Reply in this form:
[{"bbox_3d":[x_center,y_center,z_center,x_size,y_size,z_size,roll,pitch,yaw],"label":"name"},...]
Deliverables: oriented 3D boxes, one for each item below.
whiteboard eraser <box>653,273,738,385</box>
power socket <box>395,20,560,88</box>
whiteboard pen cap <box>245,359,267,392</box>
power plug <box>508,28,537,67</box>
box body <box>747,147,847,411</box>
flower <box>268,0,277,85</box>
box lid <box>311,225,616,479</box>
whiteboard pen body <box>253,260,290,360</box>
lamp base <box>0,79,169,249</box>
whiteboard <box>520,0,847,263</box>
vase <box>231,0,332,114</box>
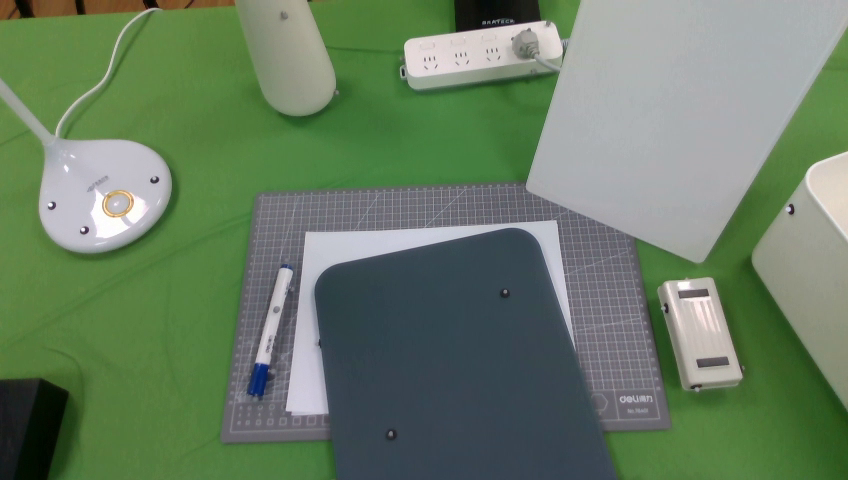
[{"bbox_3d":[0.277,0.091,0.624,0.055,0.042,0.111,-4,62,0],"label":"whiteboard eraser"},{"bbox_3d":[0.073,-0.252,0.820,0.227,0.033,0.071,-7,63,-1],"label":"power socket"},{"bbox_3d":[-0.174,0.141,0.632,0.018,0.018,0.033,5,65,6],"label":"whiteboard pen cap"},{"bbox_3d":[0.126,-0.243,0.787,0.035,0.053,0.072,2,69,4],"label":"power plug"},{"bbox_3d":[0.512,0.079,0.549,0.254,0.162,0.360,-19,63,-7],"label":"box body"},{"bbox_3d":[-0.160,-0.278,0.660,0.038,0.363,0.044,46,63,5],"label":"flower"},{"bbox_3d":[0.032,0.161,0.617,0.263,0.015,0.368,-12,63,-3],"label":"box lid"},{"bbox_3d":[-0.168,0.088,0.657,0.017,0.017,0.140,5,65,6],"label":"whiteboard pen body"},{"bbox_3d":[-0.411,-0.102,0.684,0.178,0.182,0.160,28,67,20],"label":"lamp base"},{"bbox_3d":[0.262,-0.164,0.645,0.216,0.308,0.143,26,46,17],"label":"whiteboard"},{"bbox_3d":[-0.176,-0.246,0.737,0.098,0.201,0.097,-2,62,4],"label":"vase"}]
